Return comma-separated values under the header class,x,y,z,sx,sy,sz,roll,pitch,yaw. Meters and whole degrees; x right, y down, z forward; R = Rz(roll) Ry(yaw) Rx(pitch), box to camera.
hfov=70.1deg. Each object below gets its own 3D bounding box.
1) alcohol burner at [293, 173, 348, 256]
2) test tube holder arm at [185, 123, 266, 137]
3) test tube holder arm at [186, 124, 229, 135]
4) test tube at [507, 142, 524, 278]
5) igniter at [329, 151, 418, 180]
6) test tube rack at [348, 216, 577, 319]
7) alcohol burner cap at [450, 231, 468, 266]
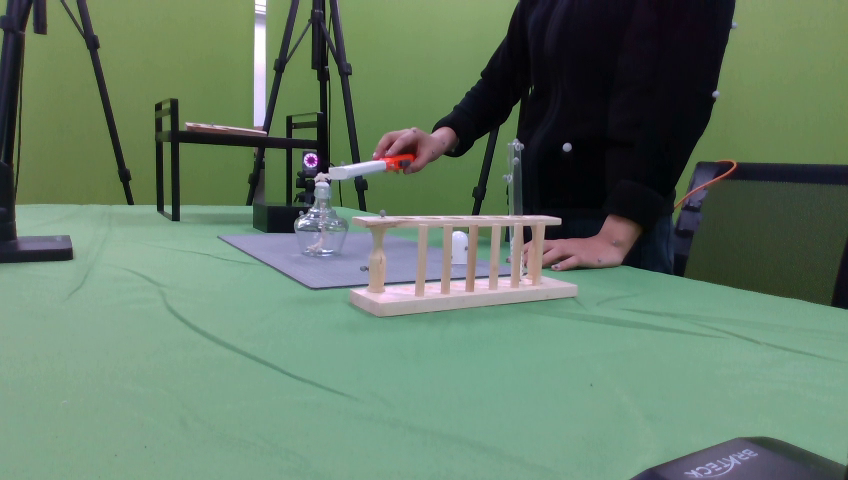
class,x,y,z,sx,sy,sz,roll,pitch,yaw
alcohol burner,-0.146,-0.036,0.859,0.078,0.119,0.078,4,8,0
test tube holder arm,-0.433,-0.242,1.333,0.179,0.015,0.013,-3,48,-42
test tube holder arm,-0.465,-0.236,1.300,0.088,0.015,0.010,-2,47,-41
test tube,0.101,-0.032,0.666,0.017,0.150,0.017,-2,6,1
igniter,-0.072,-0.124,0.995,0.057,0.025,0.277,2,13,22
test tube rack,0.048,0.021,0.619,0.244,0.085,0.066,-2,9,-31
alcohol burner cap,0.046,0.012,0.838,0.034,0.048,0.034,2,6,0
